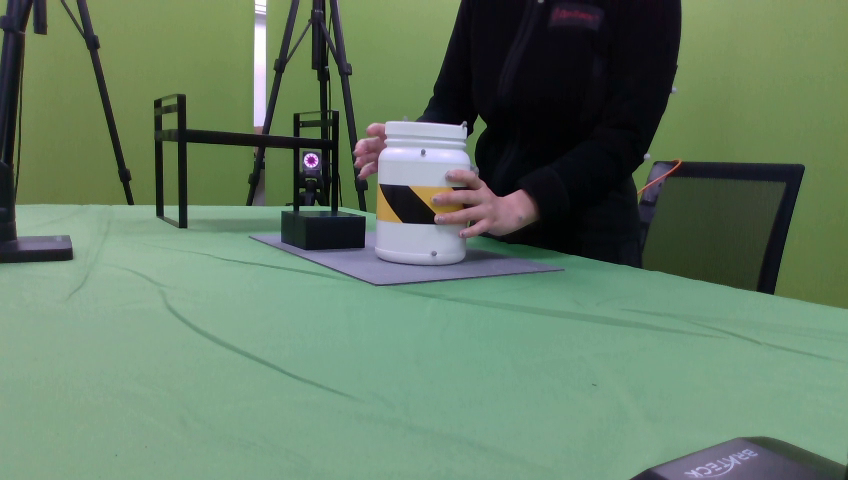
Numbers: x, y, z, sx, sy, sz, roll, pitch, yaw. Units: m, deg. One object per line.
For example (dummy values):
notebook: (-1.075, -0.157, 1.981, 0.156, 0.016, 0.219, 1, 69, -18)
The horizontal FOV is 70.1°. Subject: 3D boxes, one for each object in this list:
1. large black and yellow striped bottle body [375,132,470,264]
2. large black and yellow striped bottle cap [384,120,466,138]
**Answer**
large black and yellow striped bottle body: (-0.002, -0.065, 0.848, 0.131, 0.184, 0.130, 2, 7, 0)
large black and yellow striped bottle cap: (0.002, -0.153, 0.836, 0.115, 0.019, 0.115, 4, 8, 0)
